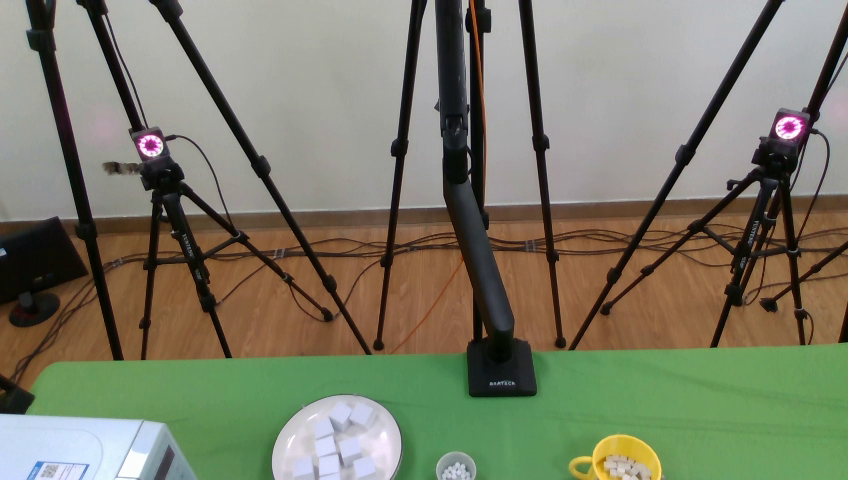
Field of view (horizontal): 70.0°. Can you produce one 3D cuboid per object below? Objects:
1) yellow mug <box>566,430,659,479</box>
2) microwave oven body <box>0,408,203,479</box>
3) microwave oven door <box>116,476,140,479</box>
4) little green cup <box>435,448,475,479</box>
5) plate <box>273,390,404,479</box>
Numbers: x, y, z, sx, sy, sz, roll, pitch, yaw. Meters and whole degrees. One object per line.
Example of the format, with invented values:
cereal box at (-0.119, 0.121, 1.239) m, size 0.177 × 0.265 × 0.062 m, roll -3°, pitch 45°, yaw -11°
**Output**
yellow mug at (0.282, 0.346, 0.919) m, size 0.130 × 0.064 × 0.099 m, roll 5°, pitch 42°, yaw 11°
microwave oven body at (-0.495, 0.450, 0.694) m, size 0.326 × 0.262 × 0.437 m, roll 1°, pitch 42°, yaw 4°
microwave oven door at (-0.353, 0.475, 0.648) m, size 0.039 × 0.246 × 0.352 m, roll 1°, pitch 41°, yaw 5°
little green cup at (0.048, 0.360, 0.940) m, size 0.061 × 0.039 × 0.061 m, roll -2°, pitch 41°, yaw 2°
plate at (-0.135, 0.339, 0.976) m, size 0.207 × 0.039 × 0.205 m, roll -2°, pitch 41°, yaw 2°
